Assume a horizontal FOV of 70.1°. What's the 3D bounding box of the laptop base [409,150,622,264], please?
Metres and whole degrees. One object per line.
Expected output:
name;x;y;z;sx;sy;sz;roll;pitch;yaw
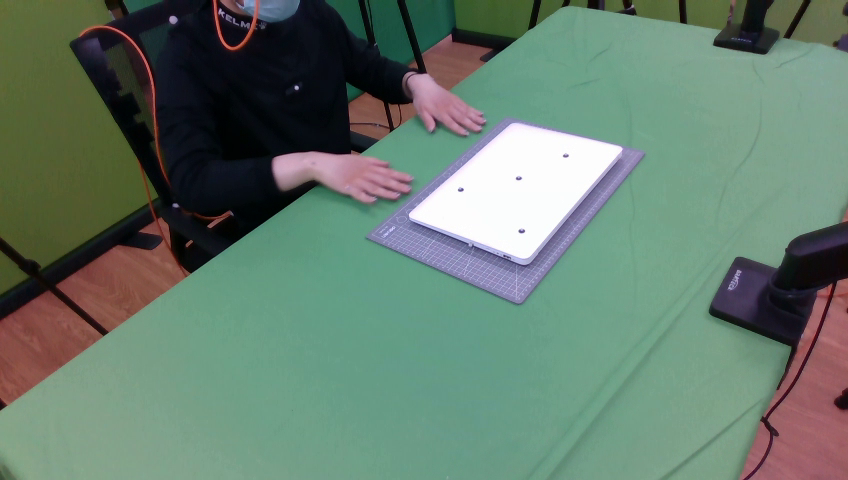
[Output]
laptop base;0.168;-0.095;1.057;0.233;0.023;0.355;20;47;33

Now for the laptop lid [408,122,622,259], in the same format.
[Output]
laptop lid;0.165;-0.105;1.050;0.240;0.013;0.358;22;48;33
